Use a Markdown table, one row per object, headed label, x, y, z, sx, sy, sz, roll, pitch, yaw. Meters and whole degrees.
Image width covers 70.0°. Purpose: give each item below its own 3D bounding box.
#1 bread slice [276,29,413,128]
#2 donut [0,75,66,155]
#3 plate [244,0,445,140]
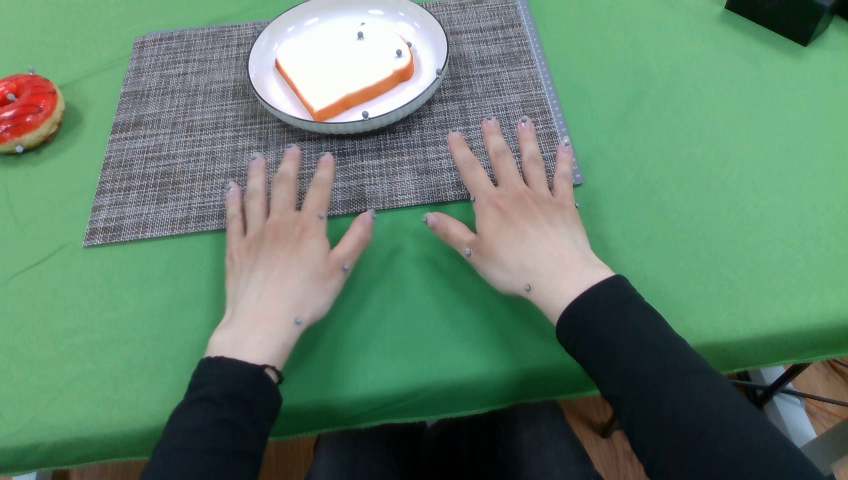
| label | x | y | z | sx | sy | sz | roll | pitch | yaw |
| --- | --- | --- | --- | --- | --- | --- | --- | --- | --- |
| bread slice | -0.080 | -0.180 | 0.641 | 0.131 | 0.019 | 0.104 | -29 | 59 | -15 |
| donut | -0.423 | -0.130 | 0.626 | 0.099 | 0.049 | 0.098 | -3 | 56 | 4 |
| plate | -0.081 | -0.177 | 0.638 | 0.207 | 0.039 | 0.205 | -1 | 55 | 2 |
